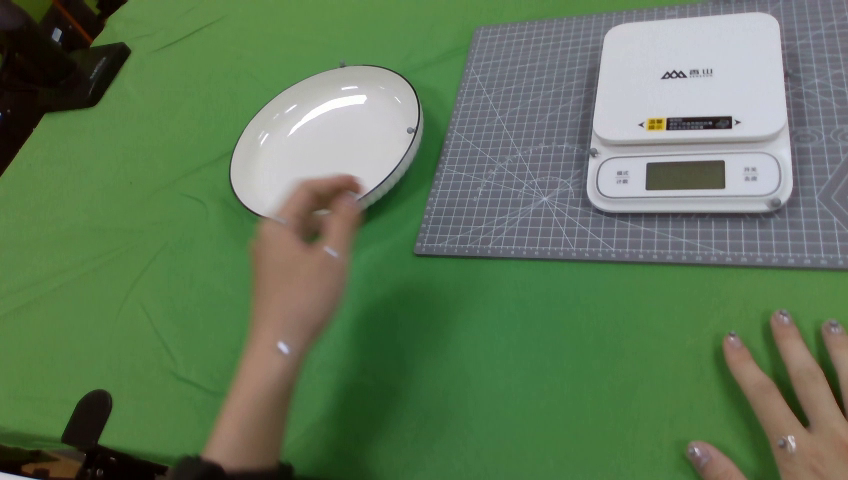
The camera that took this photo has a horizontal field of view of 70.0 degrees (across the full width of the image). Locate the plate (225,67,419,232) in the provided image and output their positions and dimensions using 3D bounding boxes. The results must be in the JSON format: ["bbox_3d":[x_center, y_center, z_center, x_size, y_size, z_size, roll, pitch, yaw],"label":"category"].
[{"bbox_3d":[-0.101,-0.091,0.617,0.209,0.038,0.207,-10,54,14],"label":"plate"}]

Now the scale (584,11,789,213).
[{"bbox_3d":[0.216,-0.111,0.509,0.148,0.032,0.199,1,58,22],"label":"scale"}]
